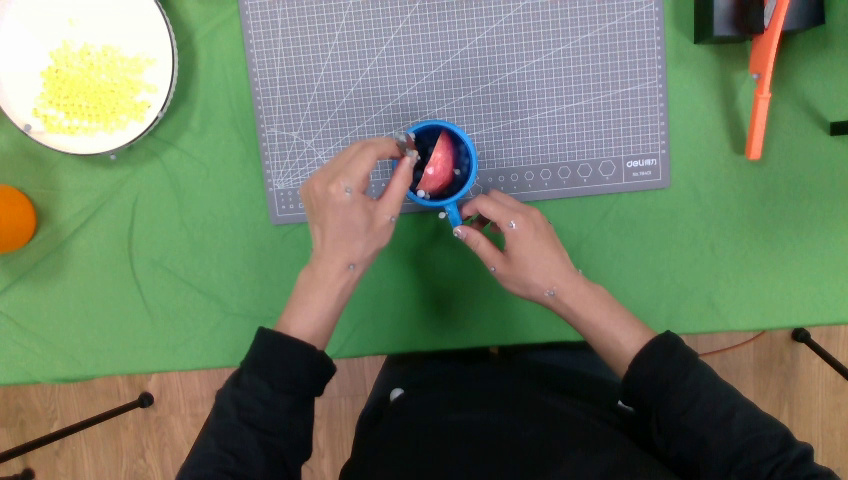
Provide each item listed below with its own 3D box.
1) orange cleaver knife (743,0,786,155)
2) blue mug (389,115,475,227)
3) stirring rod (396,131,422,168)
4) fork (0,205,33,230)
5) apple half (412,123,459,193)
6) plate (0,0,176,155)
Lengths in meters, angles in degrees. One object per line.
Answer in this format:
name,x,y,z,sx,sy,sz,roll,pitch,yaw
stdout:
orange cleaver knife,0.342,-0.191,0.615,0.012,0.076,0.213,-2,125,11
blue mug,0.015,-0.068,0.626,0.082,0.105,0.117,-20,98,4
stirring rod,-0.012,-0.083,0.569,0.006,0.176,0.014,40,93,2
fork,-0.527,-0.030,0.624,0.209,0.018,0.028,5,99,-43
apple half,0.019,-0.080,0.615,0.032,0.081,0.081,24,98,8
plate,-0.366,-0.197,0.651,0.209,0.038,0.209,0,99,2
